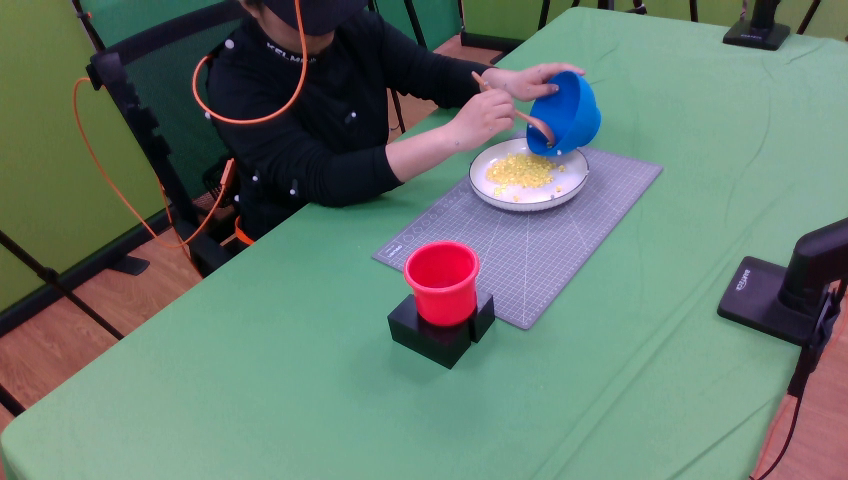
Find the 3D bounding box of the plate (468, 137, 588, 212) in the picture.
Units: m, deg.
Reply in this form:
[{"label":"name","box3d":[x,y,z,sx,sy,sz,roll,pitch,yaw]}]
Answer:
[{"label":"plate","box3d":[0.182,-0.112,1.064,0.207,0.039,0.206,-5,40,5]}]

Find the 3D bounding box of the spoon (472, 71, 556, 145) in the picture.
[{"label":"spoon","box3d":[0.157,-0.227,1.044,0.194,0.021,0.041,33,33,-12]}]

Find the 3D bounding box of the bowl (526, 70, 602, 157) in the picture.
[{"label":"bowl","box3d":[0.254,-0.209,1.052,0.077,0.151,0.150,15,34,-24]}]
